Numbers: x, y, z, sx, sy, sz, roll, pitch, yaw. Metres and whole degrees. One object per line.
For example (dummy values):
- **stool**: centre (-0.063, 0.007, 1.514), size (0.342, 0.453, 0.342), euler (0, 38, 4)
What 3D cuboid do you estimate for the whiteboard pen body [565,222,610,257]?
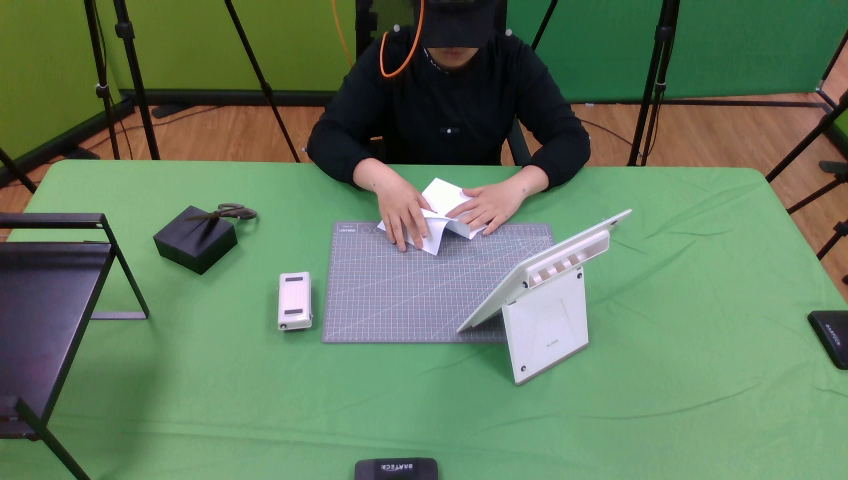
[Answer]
- **whiteboard pen body**: centre (0.335, -0.004, 1.228), size (0.141, 0.017, 0.017), euler (-32, 56, -29)

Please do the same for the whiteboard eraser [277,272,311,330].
- **whiteboard eraser**: centre (-0.228, 0.108, 1.062), size (0.056, 0.042, 0.112), euler (-3, 46, -10)

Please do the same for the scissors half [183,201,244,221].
- **scissors half**: centre (-0.405, -0.053, 1.163), size (0.040, 0.013, 0.175), euler (27, 18, 8)

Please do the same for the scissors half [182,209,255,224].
- **scissors half**: centre (-0.389, -0.042, 1.158), size (0.040, 0.013, 0.175), euler (39, 21, 23)

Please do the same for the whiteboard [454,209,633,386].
- **whiteboard**: centre (0.211, 0.111, 0.954), size (0.217, 0.306, 0.143), euler (-22, 72, -24)

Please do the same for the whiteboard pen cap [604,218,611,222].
- **whiteboard pen cap**: centre (0.378, -0.031, 1.255), size (0.033, 0.018, 0.018), euler (-33, 57, -29)
